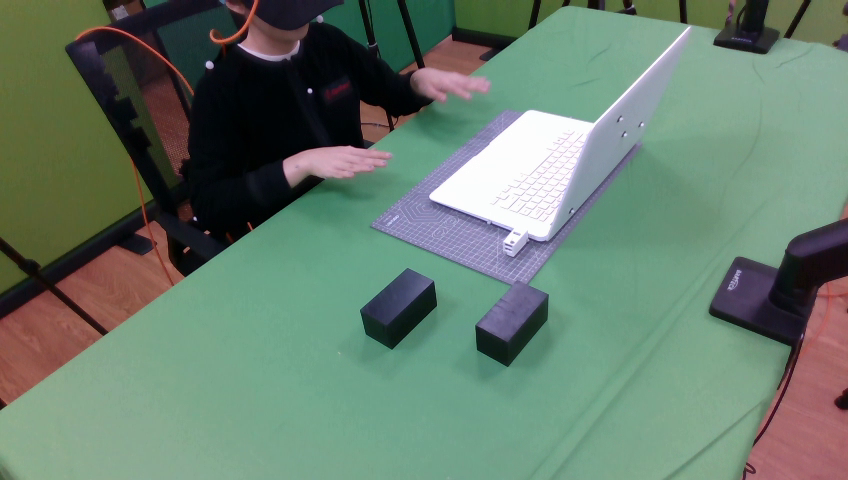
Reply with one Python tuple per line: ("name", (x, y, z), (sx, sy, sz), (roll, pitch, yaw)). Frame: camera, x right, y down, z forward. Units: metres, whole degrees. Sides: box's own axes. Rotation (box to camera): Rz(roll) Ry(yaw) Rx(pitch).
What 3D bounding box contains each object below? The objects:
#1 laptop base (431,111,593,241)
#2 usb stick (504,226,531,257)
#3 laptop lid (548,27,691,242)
("laptop base", (0.207, -0.130, 1.100), (0.233, 0.023, 0.355), (20, 47, 33))
("usb stick", (0.149, -0.002, 0.940), (0.021, 0.027, 0.059), (22, 47, 32))
("laptop lid", (0.310, -0.168, 0.950), (0.013, 0.242, 0.358), (33, 52, 20))
